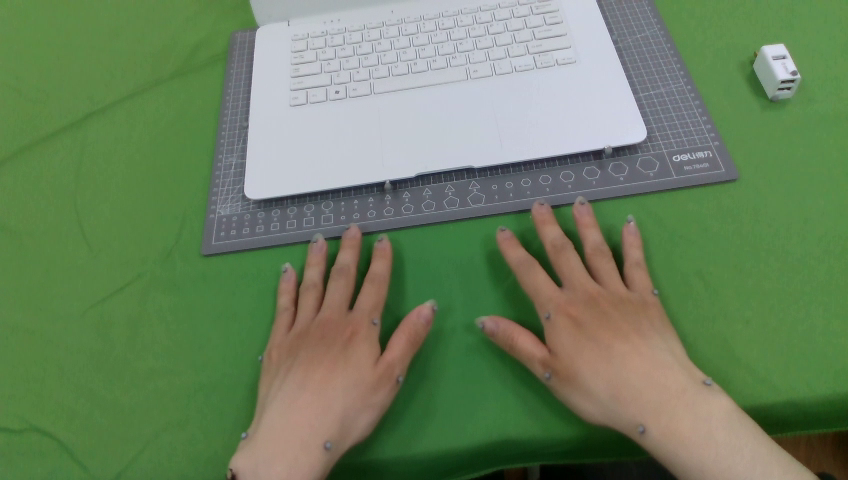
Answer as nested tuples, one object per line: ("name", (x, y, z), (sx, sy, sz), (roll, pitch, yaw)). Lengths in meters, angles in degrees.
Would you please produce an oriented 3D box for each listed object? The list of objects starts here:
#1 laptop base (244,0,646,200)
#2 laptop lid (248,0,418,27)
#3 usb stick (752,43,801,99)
("laptop base", (0.006, -0.152, 0.586), (0.354, 0.023, 0.233), (-8, 60, 2))
("laptop lid", (-0.021, -0.341, 0.575), (0.357, 0.244, 0.013), (-9, 39, 3))
("usb stick", (0.314, -0.157, 0.544), (0.021, 0.027, 0.058), (-6, 53, 5))
